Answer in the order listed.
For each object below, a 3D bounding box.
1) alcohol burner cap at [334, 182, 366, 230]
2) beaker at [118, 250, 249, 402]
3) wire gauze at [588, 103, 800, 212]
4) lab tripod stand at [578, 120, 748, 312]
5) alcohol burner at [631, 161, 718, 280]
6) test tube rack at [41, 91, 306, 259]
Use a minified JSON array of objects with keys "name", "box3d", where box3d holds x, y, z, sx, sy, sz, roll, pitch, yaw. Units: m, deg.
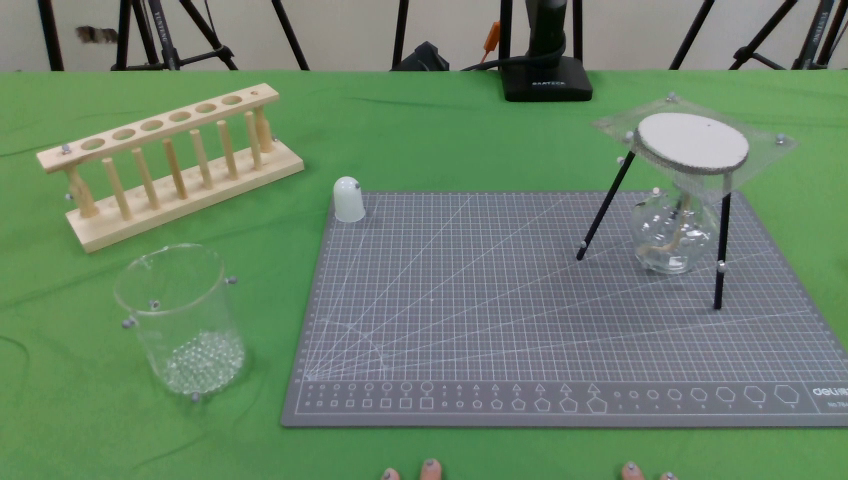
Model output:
[{"name":"alcohol burner cap","box3d":[-0.078,-0.038,0.628,0.034,0.048,0.033,0,40,0]},{"name":"beaker","box3d":[-0.179,0.067,0.462,0.083,0.101,0.074,29,48,32]},{"name":"wire gauze","box3d":[0.218,-0.077,0.493,0.121,0.011,0.123,-24,47,-27]},{"name":"lab tripod stand","box3d":[0.223,-0.026,0.537,0.148,0.132,0.147,1,40,-1]},{"name":"alcohol burner","box3d":[0.230,-0.022,0.548,0.078,0.120,0.077,0,42,0]},{"name":"test tube rack","box3d":[-0.255,-0.076,0.647,0.242,0.086,0.066,-27,46,-28]}]
